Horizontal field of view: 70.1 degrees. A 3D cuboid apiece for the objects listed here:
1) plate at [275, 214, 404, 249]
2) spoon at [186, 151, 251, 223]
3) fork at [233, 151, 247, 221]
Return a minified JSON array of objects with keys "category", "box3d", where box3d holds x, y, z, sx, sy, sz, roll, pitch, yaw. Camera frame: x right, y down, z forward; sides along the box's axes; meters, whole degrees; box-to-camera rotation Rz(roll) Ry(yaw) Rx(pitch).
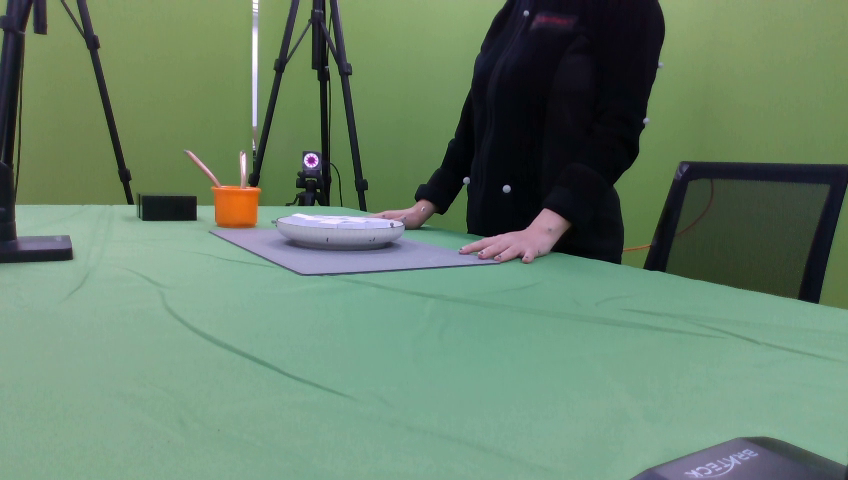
[{"category":"plate","box3d":[-0.135,-0.013,0.982,0.208,0.039,0.207,3,7,0]},{"category":"spoon","box3d":[-0.401,-0.103,1.176,0.021,0.193,0.042,-41,-9,25]},{"category":"fork","box3d":[-0.366,-0.112,1.215,0.028,0.018,0.206,16,44,-29]}]
